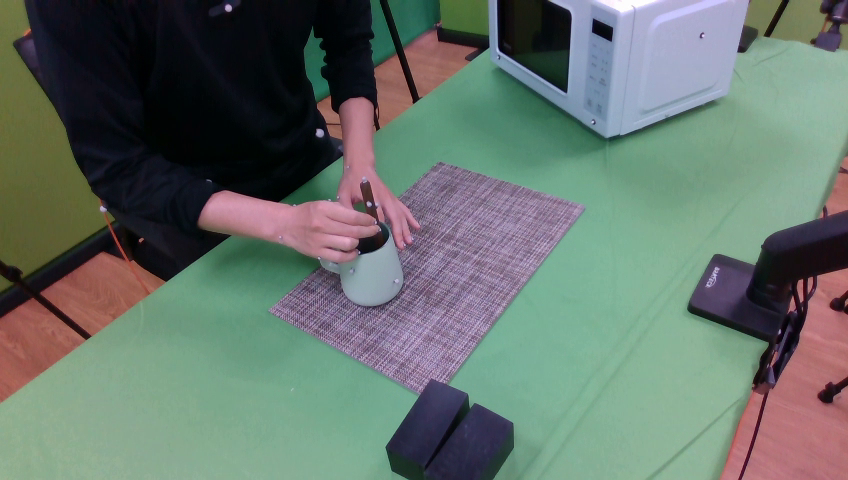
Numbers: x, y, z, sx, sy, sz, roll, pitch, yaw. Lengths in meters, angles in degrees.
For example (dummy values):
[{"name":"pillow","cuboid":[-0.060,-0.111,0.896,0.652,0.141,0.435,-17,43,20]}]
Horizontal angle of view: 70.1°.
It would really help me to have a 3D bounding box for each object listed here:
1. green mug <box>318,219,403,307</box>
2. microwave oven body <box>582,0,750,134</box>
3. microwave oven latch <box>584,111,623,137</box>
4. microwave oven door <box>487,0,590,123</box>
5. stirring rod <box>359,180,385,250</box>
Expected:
[{"name":"green mug","cuboid":[-0.095,0.032,0.876,0.125,0.105,0.092,8,43,17]},{"name":"microwave oven body","cuboid":[0.382,-0.445,1.246,0.327,0.261,0.437,-22,42,-16]},{"name":"microwave oven latch","cuboid":[0.337,-0.222,1.142,0.030,0.029,0.078,-21,42,-14]},{"name":"microwave oven door","cuboid":[0.232,-0.420,1.230,0.039,0.245,0.352,-22,43,-16]},{"name":"stirring rod","cuboid":[-0.064,-0.010,0.822,0.014,0.177,0.005,-26,45,-16]}]
